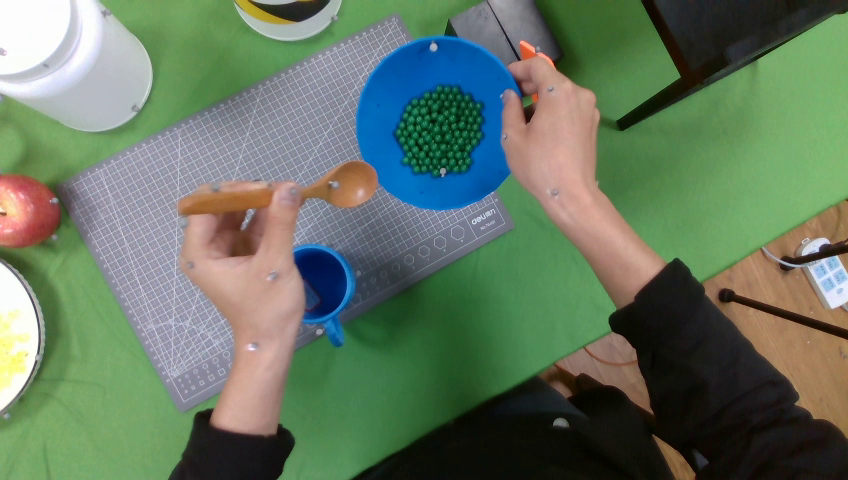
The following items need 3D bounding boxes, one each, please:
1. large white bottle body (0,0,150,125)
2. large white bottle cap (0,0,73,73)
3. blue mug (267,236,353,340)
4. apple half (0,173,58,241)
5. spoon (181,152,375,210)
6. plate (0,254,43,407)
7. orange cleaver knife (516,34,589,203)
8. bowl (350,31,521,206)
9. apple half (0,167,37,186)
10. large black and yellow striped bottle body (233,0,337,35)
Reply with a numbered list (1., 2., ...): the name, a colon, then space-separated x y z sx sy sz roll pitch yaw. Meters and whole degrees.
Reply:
1. large white bottle body: -0.376 -0.201 0.615 0.131 0.184 0.130 0 87 -4
2. large white bottle cap: -0.371 -0.205 0.530 0.115 0.018 0.114 0 88 -4
3. blue mug: -0.116 0.056 0.668 0.082 0.106 0.116 -21 90 -5
4. apple half: -0.436 -0.028 0.660 0.081 0.074 0.053 -43 96 -9
5. spoon: -0.092 -0.039 0.434 0.021 0.194 0.042 25 110 20
6. plate: -0.524 0.099 0.665 0.209 0.038 0.209 0 89 -5
7. orange cleaver knife: 0.151 -0.138 0.709 0.012 0.076 0.213 -30 122 -6
8. bowl: 0.011 -0.109 0.565 0.151 0.076 0.151 0 97 0
9. apple half: -0.463 -0.057 0.657 0.081 0.081 0.033 -44 97 -5
10. large black and yellow striped bottle body: -0.159 -0.311 0.638 0.131 0.184 0.130 0 87 -4
